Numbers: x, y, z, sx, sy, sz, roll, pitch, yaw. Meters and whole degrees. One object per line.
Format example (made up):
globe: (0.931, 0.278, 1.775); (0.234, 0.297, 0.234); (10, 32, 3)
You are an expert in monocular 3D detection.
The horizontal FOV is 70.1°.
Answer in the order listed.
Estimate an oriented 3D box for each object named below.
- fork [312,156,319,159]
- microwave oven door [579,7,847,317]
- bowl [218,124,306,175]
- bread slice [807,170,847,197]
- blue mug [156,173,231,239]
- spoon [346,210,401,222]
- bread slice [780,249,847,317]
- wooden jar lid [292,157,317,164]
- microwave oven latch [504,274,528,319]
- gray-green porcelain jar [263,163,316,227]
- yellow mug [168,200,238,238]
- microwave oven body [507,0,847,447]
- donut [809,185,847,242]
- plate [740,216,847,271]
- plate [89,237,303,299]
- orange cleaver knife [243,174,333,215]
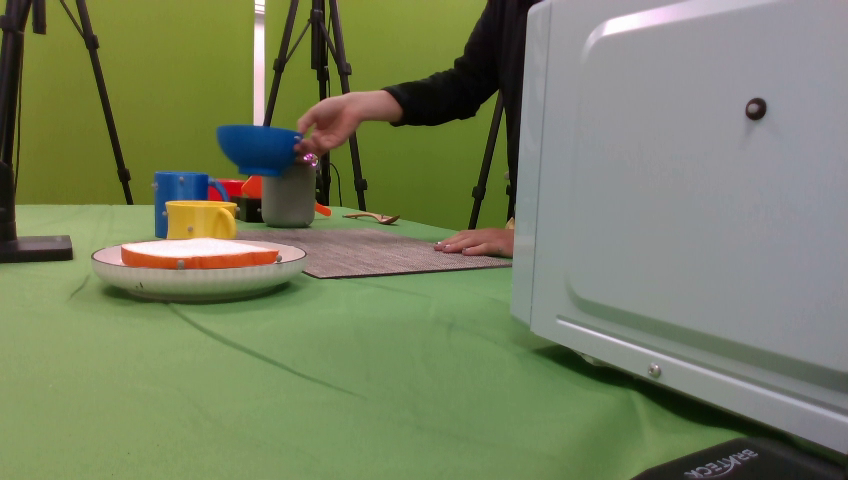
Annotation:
fork: (-0.331, -0.144, 1.506); (0.207, 0.018, 0.028); (-42, -19, 22)
microwave oven door: (0.294, -0.067, 0.570); (0.358, 0.243, 0.039); (-3, 9, -31)
bowl: (-0.289, -0.157, 1.082); (0.151, 0.077, 0.151); (2, 2, 0)
bread slice: (0.365, -0.051, 0.453); (0.135, 0.018, 0.106); (-10, 1, -23)
blue mug: (-0.381, -0.057, 1.004); (0.117, 0.106, 0.082); (1, 8, -12)
spoon: (-0.121, -0.059, 1.400); (0.042, 0.021, 0.192); (-28, 25, -37)
bread slice: (0.369, 0.024, 0.477); (0.132, 0.019, 0.104); (-24, 10, -8)
wooden jar lid: (-0.269, -0.154, 1.208); (0.108, 0.020, 0.108); (3, 4, 0)
microwave oven latch: (0.100, 0.041, 0.471); (0.079, 0.029, 0.030); (-1, 7, -28)
gray-green porcelain jar: (-0.271, -0.092, 1.218); (0.106, 0.126, 0.106); (2, 7, 0)
yellow mug: (-0.320, -0.023, 0.904); (0.130, 0.064, 0.100); (9, 11, 36)
microwave oven body: (0.331, -0.042, 0.425); (0.444, 0.260, 0.324); (-2, 8, -31)
donut: (0.352, -0.024, 0.463); (0.099, 0.048, 0.099); (-10, 4, 1)
plate: (0.358, 0.002, 0.464); (0.209, 0.038, 0.209); (1, 4, 0)
plate: (-0.233, 0.029, 0.636); (0.208, 0.039, 0.207); (2, 7, 0)
orange cleaver knife: (-0.300, -0.089, 1.351); (0.212, 0.077, 0.012); (28, -9, -34)
